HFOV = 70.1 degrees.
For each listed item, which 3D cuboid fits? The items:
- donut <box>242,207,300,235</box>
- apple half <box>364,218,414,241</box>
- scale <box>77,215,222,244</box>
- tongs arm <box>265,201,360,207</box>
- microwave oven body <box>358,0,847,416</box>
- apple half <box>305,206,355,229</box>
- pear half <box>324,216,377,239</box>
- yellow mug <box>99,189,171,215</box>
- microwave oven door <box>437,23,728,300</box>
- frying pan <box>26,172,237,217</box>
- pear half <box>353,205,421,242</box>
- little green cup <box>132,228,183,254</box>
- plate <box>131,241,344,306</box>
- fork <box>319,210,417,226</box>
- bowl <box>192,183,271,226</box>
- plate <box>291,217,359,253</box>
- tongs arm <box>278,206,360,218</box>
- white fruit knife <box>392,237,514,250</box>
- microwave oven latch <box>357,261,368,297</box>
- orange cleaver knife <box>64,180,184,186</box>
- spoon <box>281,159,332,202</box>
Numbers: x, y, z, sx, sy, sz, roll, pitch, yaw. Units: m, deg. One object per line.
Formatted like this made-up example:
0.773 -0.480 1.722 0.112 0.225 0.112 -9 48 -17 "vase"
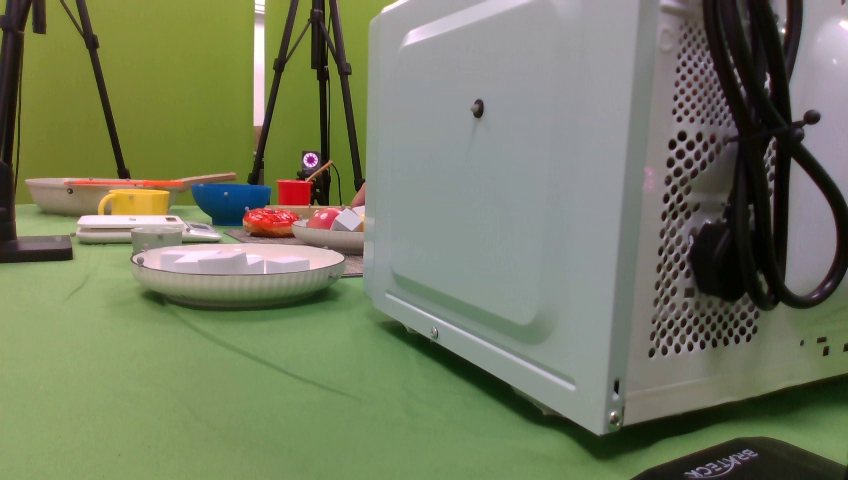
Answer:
-0.263 -0.032 1.039 0.099 0.048 0.099 4 9 0 "donut"
-0.054 -0.019 0.968 0.081 0.033 0.081 -3 10 1 "apple half"
-0.434 -0.019 0.963 0.202 0.031 0.148 -1 9 -27 "scale"
-0.217 -0.077 1.469 0.389 0.028 0.028 0 2 -26 "tongs arm"
0.211 -0.047 0.475 0.444 0.260 0.324 -1 7 -28 "microwave oven body"
-0.138 -0.025 0.917 0.081 0.053 0.074 0 10 -43 "apple half"
-0.119 -0.023 0.996 0.088 0.031 0.070 -4 23 -27 "pear half"
-0.519 -0.055 1.080 0.099 0.064 0.131 7 9 26 "yellow mug"
0.180 -0.072 0.621 0.358 0.243 0.039 -2 8 -29 "microwave oven door"
-0.624 -0.118 1.387 0.305 0.102 0.490 8 17 32 "frying pan"
-0.051 -0.024 0.905 0.110 0.056 0.076 2 -1 -38 "pear half"
-0.342 0.006 0.779 0.061 0.038 0.061 2 8 0 "little green cup"
-0.187 0.033 0.625 0.208 0.039 0.207 2 8 0 "plate"
-0.098 -0.037 1.119 0.208 0.018 0.028 5 35 -39 "fork"
-0.382 -0.070 1.202 0.151 0.077 0.151 3 7 0 "bowl"
-0.103 -0.009 0.945 0.209 0.038 0.209 2 7 0 "plate"
-0.171 -0.067 1.401 0.387 0.026 0.050 -2 7 -39 "tongs arm"
0.044 0.005 0.867 0.208 0.016 0.027 1 32 -34 "white fruit knife"
-0.019 0.033 0.531 0.079 0.029 0.030 -1 7 -27 "microwave oven latch"
-0.595 -0.114 1.212 0.212 0.012 0.077 -4 6 -41 "orange cleaver knife"
-0.316 -0.159 1.640 0.194 0.022 0.041 -50 32 -20 "spoon"
